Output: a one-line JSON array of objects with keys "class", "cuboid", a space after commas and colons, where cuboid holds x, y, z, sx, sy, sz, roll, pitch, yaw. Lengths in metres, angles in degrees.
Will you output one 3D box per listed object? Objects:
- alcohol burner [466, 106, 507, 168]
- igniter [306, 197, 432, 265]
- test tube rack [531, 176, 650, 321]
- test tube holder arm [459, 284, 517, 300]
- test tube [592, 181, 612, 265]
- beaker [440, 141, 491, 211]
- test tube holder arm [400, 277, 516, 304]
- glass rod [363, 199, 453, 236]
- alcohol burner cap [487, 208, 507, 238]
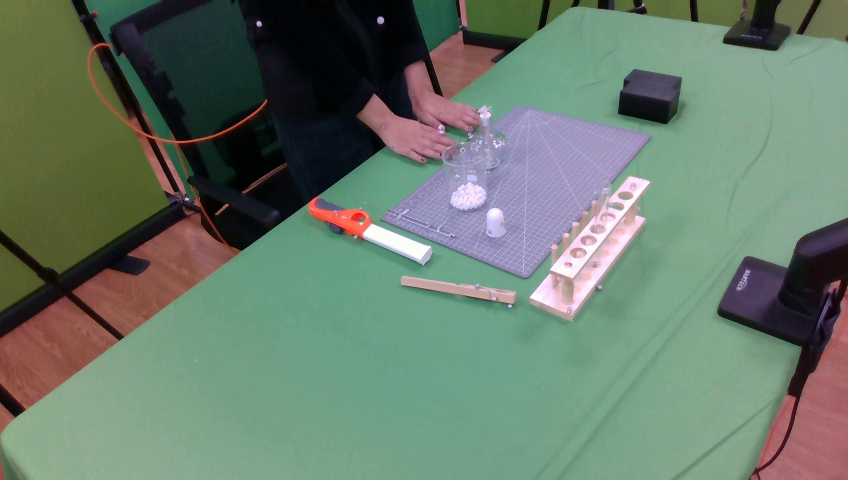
[{"class": "alcohol burner", "cuboid": [0.115, -0.193, 1.112, 0.078, 0.119, 0.077, -4, 41, 4]}, {"class": "igniter", "cuboid": [-0.102, -0.020, 1.019, 0.274, 0.025, 0.057, 23, 59, 32]}, {"class": "test tube rack", "cuboid": [0.246, 0.002, 0.884, 0.066, 0.085, 0.243, 22, 49, 32]}, {"class": "test tube holder arm", "cuboid": [0.091, 0.077, 0.877, 0.087, 0.015, 0.010, 8, 9, 20]}, {"class": "test tube", "cuboid": [0.245, -0.020, 0.833, 0.017, 0.151, 0.017, -5, 44, 5]}, {"class": "beaker", "cuboid": [0.074, -0.106, 1.028, 0.084, 0.101, 0.073, -1, 41, 8]}, {"class": "test tube holder arm", "cuboid": [0.047, 0.073, 0.887, 0.177, 0.015, 0.013, 7, 9, 19]}, {"class": "glass rod", "cuboid": [-0.031, -0.041, 1.041, 0.198, 0.008, 0.008, 22, 50, 31]}, {"class": "alcohol burner cap", "cuboid": [0.116, -0.030, 0.975, 0.034, 0.048, 0.033, -6, 39, 5]}]
